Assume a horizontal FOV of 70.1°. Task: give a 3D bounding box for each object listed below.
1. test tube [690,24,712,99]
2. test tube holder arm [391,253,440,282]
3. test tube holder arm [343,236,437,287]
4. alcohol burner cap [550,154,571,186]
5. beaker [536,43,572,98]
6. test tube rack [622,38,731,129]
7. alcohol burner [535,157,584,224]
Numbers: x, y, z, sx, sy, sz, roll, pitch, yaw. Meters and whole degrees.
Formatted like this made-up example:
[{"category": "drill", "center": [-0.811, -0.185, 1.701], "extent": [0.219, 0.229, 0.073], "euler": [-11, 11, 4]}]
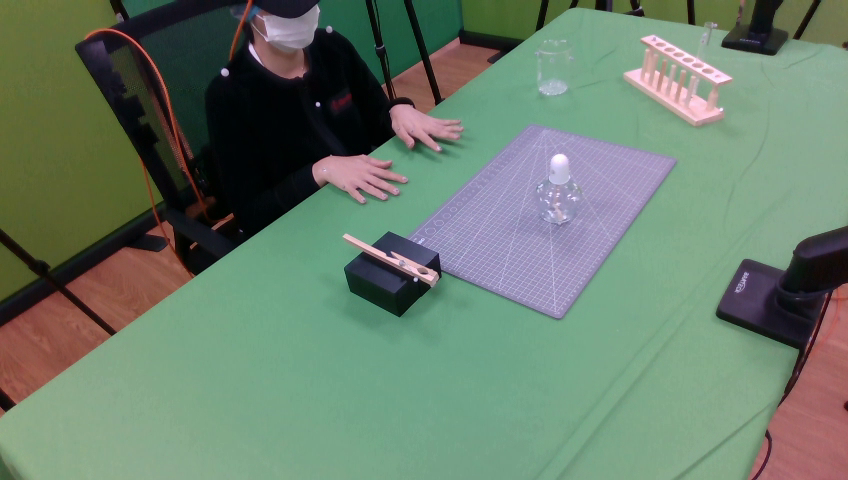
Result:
[{"category": "test tube", "center": [0.534, -0.344, 1.174], "extent": [0.017, 0.151, 0.017], "euler": [-2, 39, 2]}, {"category": "test tube holder arm", "center": [-0.015, 0.039, 0.858], "extent": [0.087, 0.015, 0.010], "euler": [22, 57, 32]}, {"category": "test tube holder arm", "center": [-0.054, 0.029, 0.879], "extent": [0.177, 0.015, 0.013], "euler": [22, 56, 32]}, {"category": "alcohol burner cap", "center": [0.212, -0.112, 0.944], "extent": [0.034, 0.048, 0.033], "euler": [-7, 44, 7]}, {"category": "beaker", "center": [0.280, -0.368, 1.311], "extent": [0.074, 0.101, 0.084], "euler": [4, 41, 14]}, {"category": "test tube rack", "center": [0.506, -0.325, 1.234], "extent": [0.067, 0.085, 0.240], "euler": [-18, 41, -11]}, {"category": "alcohol burner", "center": [0.217, -0.085, 0.967], "extent": [0.078, 0.119, 0.077], "euler": [-3, 41, 3]}]
